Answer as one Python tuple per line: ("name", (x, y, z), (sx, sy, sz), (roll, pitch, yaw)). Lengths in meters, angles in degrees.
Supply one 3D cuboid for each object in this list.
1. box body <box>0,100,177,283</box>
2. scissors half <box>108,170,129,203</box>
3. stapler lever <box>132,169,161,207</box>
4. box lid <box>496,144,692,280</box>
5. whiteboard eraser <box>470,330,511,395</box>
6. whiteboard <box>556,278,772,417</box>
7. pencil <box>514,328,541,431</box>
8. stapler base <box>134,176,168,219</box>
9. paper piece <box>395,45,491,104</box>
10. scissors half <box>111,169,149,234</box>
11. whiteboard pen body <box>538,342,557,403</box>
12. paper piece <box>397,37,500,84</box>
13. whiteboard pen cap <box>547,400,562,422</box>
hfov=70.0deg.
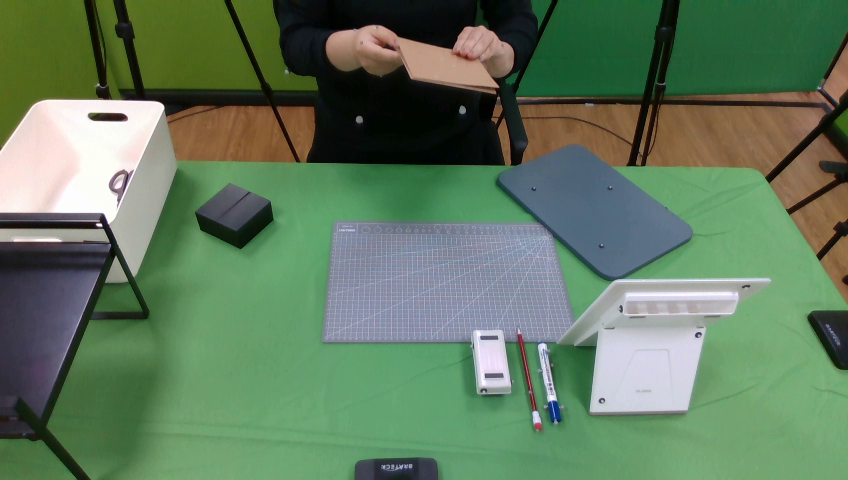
("box body", (-0.639, -0.095, 1.140), (0.254, 0.161, 0.361), (0, 46, -4))
("scissors half", (-0.617, -0.077, 1.222), (0.040, 0.013, 0.174), (-15, 52, -7))
("stapler lever", (-0.557, -0.113, 1.218), (0.027, 0.040, 0.117), (1, 42, -8))
("box lid", (0.360, -0.073, 1.305), (0.263, 0.015, 0.369), (-24, 52, -25))
("whiteboard eraser", (0.110, 0.202, 0.998), (0.055, 0.042, 0.112), (1, 46, -5))
("whiteboard", (0.347, 0.174, 0.903), (0.217, 0.306, 0.143), (1, 65, -4))
("pencil", (0.169, 0.224, 1.002), (0.012, 0.012, 0.192), (-2, 46, -6))
("stapler base", (-0.558, -0.093, 1.234), (0.041, 0.024, 0.129), (1, 42, -8))
("paper piece", (0.028, -0.258, 0.933), (0.136, 0.008, 0.137), (16, 28, -23))
("scissors half", (-0.596, -0.079, 1.223), (0.040, 0.013, 0.174), (5, 51, 2))
("whiteboard pen body", (0.205, 0.228, 0.997), (0.017, 0.017, 0.140), (1, 46, -3))
("paper piece", (0.035, -0.275, 0.925), (0.136, 0.004, 0.135), (3, 38, -19))
("whiteboard pen cap", (0.205, 0.269, 0.956), (0.018, 0.018, 0.033), (0, 47, -5))
